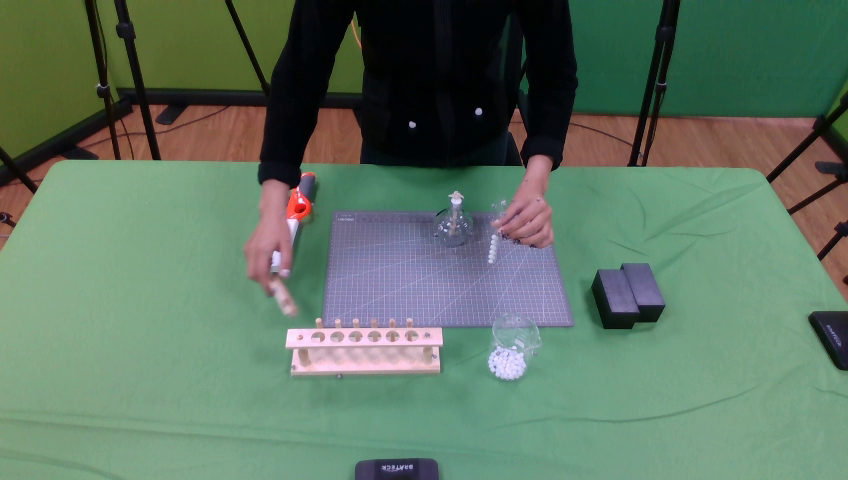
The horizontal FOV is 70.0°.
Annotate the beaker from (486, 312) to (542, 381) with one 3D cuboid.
[{"bbox_3d":[0.144,0.177,0.985,0.084,0.101,0.074,22,49,16],"label":"beaker"}]

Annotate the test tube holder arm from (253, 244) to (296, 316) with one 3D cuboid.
[{"bbox_3d":[-0.259,0.065,1.039,0.013,0.015,0.177,-38,53,-4],"label":"test tube holder arm"}]

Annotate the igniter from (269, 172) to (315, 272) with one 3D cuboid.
[{"bbox_3d":[-0.264,-0.045,1.219,0.057,0.025,0.275,-2,45,8],"label":"igniter"}]

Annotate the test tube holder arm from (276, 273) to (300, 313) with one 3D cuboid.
[{"bbox_3d":[-0.230,0.088,1.013,0.010,0.015,0.087,-38,53,-4],"label":"test tube holder arm"}]

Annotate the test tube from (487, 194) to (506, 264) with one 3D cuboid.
[{"bbox_3d":[0.119,-0.015,1.001,0.017,0.151,0.017,1,45,-1],"label":"test tube"}]

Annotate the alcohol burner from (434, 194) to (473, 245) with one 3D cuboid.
[{"bbox_3d":[0.059,-0.046,1.179,0.078,0.120,0.077,1,48,-1],"label":"alcohol burner"}]

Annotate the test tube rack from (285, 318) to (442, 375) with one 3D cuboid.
[{"bbox_3d":[-0.095,0.168,0.986,0.242,0.085,0.066,0,46,-4],"label":"test tube rack"}]

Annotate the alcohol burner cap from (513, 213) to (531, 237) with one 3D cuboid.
[{"bbox_3d":[0.200,-0.034,1.227,0.034,0.048,0.033,1,46,-1],"label":"alcohol burner cap"}]
